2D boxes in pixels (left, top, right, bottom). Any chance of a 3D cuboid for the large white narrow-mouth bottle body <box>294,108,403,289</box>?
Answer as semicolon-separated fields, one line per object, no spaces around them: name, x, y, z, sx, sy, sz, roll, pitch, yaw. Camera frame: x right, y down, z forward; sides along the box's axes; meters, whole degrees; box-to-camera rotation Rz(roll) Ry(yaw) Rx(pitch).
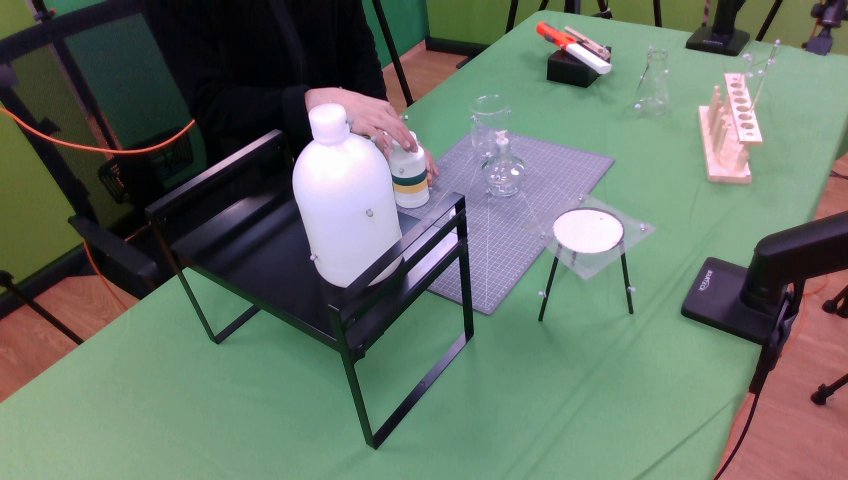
large white narrow-mouth bottle body;-0.082;-0.047;0.634;0.102;0.195;0.101;-4;39;4

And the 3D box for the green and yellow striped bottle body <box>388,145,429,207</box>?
green and yellow striped bottle body;-0.027;-0.121;1.041;0.063;0.120;0.063;-4;41;4

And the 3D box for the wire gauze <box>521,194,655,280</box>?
wire gauze;0.207;-0.012;0.772;0.122;0.011;0.124;-28;44;-20

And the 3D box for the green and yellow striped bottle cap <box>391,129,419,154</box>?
green and yellow striped bottle cap;-0.031;-0.165;1.005;0.045;0.020;0.045;-7;45;8

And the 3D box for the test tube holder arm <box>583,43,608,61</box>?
test tube holder arm;0.379;-0.420;1.341;0.010;0.015;0.087;-39;41;10

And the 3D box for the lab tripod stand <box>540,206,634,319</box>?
lab tripod stand;0.218;0.034;0.821;0.148;0.132;0.147;-4;42;4

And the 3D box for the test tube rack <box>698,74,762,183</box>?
test tube rack;0.547;-0.208;1.095;0.066;0.085;0.242;5;42;15

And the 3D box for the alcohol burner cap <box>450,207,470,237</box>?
alcohol burner cap;0.057;-0.032;0.987;0.034;0.048;0.033;-4;41;4

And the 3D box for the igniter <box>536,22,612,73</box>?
igniter;0.330;-0.439;1.366;0.057;0.025;0.274;-12;41;-20

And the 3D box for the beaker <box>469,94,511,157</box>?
beaker;0.124;-0.216;1.148;0.074;0.101;0.083;-21;42;-16

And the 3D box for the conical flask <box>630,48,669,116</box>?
conical flask;0.456;-0.317;1.205;0.075;0.122;0.075;-4;41;4

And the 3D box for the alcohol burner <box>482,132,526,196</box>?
alcohol burner;0.137;-0.136;1.042;0.078;0.119;0.077;-4;43;4

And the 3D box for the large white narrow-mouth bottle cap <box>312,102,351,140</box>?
large white narrow-mouth bottle cap;-0.089;-0.114;0.579;0.038;0.024;0.037;-3;39;3

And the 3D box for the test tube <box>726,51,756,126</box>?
test tube;0.568;-0.268;1.086;0.017;0.151;0.017;-4;46;4

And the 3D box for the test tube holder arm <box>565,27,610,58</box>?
test tube holder arm;0.369;-0.450;1.373;0.013;0.015;0.177;-39;41;10

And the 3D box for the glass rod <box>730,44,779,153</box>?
glass rod;0.555;-0.233;1.020;0.008;0.200;0.008;2;39;-1
